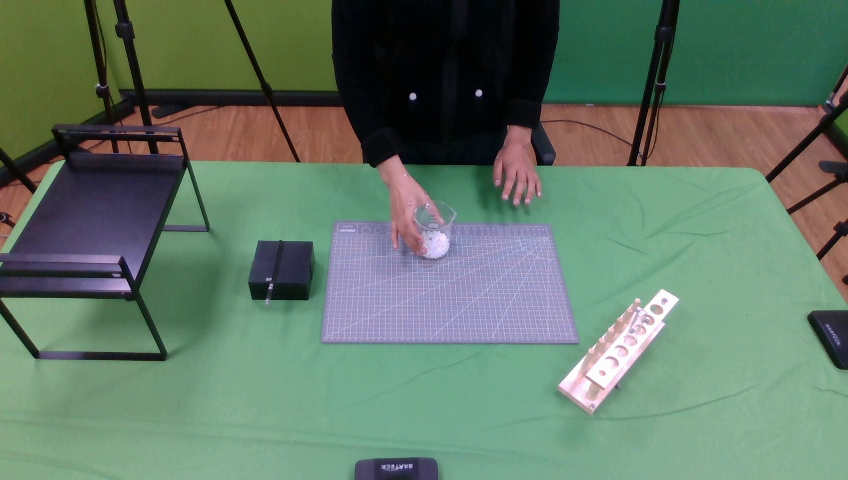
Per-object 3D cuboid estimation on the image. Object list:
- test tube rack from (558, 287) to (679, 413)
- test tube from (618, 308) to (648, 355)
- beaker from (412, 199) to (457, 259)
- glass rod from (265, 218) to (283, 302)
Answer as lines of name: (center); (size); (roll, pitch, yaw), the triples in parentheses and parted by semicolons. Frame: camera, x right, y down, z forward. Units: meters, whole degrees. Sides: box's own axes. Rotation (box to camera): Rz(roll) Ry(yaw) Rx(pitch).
test tube rack: (0.326, 0.170, 1.009); (0.066, 0.085, 0.242); (36, 54, 26)
test tube: (0.327, 0.154, 0.956); (0.017, 0.151, 0.017); (-1, 50, 1)
beaker: (0.020, -0.018, 1.152); (0.084, 0.101, 0.073); (-8, 53, -7)
glass rod: (-0.267, 0.031, 1.084); (0.008, 0.008, 0.198); (1, 46, -3)
